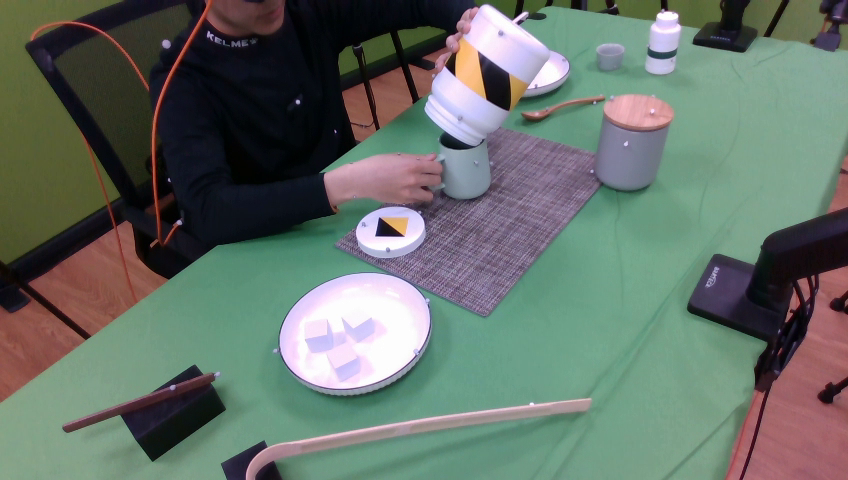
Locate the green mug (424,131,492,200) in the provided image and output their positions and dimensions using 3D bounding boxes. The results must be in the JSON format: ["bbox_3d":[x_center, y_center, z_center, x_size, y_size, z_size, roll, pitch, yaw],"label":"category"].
[{"bbox_3d":[0.055,-0.125,1.039,0.126,0.105,0.091,-26,44,-20],"label":"green mug"}]

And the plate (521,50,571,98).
[{"bbox_3d":[0.223,-0.371,1.357,0.209,0.038,0.208,-4,41,4],"label":"plate"}]

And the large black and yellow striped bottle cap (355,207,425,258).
[{"bbox_3d":[-0.056,-0.014,0.993,0.115,0.019,0.114,-3,40,3],"label":"large black and yellow striped bottle cap"}]

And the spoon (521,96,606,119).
[{"bbox_3d":[0.291,-0.277,1.249,0.194,0.022,0.041,-17,26,-11],"label":"spoon"}]

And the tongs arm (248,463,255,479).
[{"bbox_3d":[0.012,0.262,0.615,0.385,0.026,0.050,2,42,-2],"label":"tongs arm"}]

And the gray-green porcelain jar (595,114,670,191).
[{"bbox_3d":[0.346,-0.155,1.017,0.106,0.127,0.105,-2,44,2],"label":"gray-green porcelain jar"}]

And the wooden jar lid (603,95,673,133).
[{"bbox_3d":[0.343,-0.200,0.974,0.108,0.021,0.108,-1,39,2],"label":"wooden jar lid"}]

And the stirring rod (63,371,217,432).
[{"bbox_3d":[-0.337,0.192,0.723,0.177,0.014,0.005,-18,42,-12],"label":"stirring rod"}]

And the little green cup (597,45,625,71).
[{"bbox_3d":[0.423,-0.413,1.375,0.061,0.039,0.061,-3,41,3],"label":"little green cup"}]

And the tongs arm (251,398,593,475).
[{"bbox_3d":[0.008,0.212,0.675,0.389,0.028,0.028,-5,46,-11],"label":"tongs arm"}]

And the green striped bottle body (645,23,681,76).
[{"bbox_3d":[0.520,-0.424,1.312,0.063,0.120,0.063,-4,40,4],"label":"green striped bottle body"}]

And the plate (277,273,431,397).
[{"bbox_3d":[-0.091,0.129,0.821,0.207,0.039,0.206,-4,40,4],"label":"plate"}]

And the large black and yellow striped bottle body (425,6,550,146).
[{"bbox_3d":[0.094,-0.254,0.955,0.131,0.183,0.130,30,23,-14],"label":"large black and yellow striped bottle body"}]

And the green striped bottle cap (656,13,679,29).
[{"bbox_3d":[0.515,-0.463,1.278,0.044,0.020,0.044,-6,42,6],"label":"green striped bottle cap"}]
